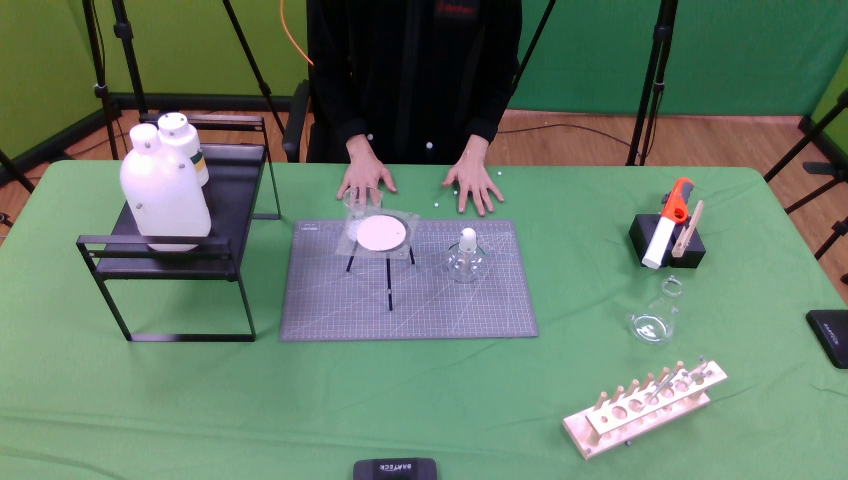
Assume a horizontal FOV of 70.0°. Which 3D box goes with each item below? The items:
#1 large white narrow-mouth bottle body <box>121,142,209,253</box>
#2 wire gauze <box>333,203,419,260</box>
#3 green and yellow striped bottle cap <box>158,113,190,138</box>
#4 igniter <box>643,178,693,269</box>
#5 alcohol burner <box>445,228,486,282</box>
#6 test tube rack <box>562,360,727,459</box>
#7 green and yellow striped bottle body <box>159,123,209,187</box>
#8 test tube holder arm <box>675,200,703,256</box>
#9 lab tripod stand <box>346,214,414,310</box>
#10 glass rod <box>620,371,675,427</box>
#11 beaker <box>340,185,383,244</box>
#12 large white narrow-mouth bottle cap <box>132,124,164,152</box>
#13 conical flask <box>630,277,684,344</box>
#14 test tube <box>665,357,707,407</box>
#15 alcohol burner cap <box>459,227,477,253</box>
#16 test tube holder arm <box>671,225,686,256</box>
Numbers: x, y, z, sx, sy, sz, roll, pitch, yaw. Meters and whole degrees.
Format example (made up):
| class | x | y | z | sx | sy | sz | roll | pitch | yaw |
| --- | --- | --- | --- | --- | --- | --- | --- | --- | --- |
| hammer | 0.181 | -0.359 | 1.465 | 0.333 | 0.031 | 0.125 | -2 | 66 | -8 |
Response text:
| class | x | y | z | sx | sy | sz | roll | pitch | yaw |
| --- | --- | --- | --- | --- | --- | --- | --- | --- | --- |
| large white narrow-mouth bottle body | -0.378 | -0.077 | 0.875 | 0.102 | 0.195 | 0.101 | 3 | 46 | -3 |
| wire gauze | -0.079 | -0.014 | 1.030 | 0.121 | 0.011 | 0.124 | 8 | 45 | 6 |
| green and yellow striped bottle cap | -0.393 | -0.180 | 0.951 | 0.045 | 0.020 | 0.045 | 2 | 44 | -2 |
| igniter | 0.488 | -0.042 | 1.205 | 0.057 | 0.025 | 0.276 | 30 | 51 | 11 |
| alcohol burner | 0.077 | 0.021 | 1.115 | 0.078 | 0.120 | 0.077 | 1 | 48 | -1 |
| test tube rack | 0.341 | 0.247 | 0.940 | 0.243 | 0.085 | 0.066 | -16 | 49 | -18 |
| green and yellow striped bottle body | -0.395 | -0.145 | 0.989 | 0.063 | 0.120 | 0.063 | 2 | 46 | -2 |
| test tube holder arm | 0.523 | -0.025 | 1.190 | 0.013 | 0.015 | 0.178 | 1 | 36 | 41 |
| lab tripod stand | -0.075 | 0.030 | 1.082 | 0.148 | 0.132 | 0.147 | 1 | 47 | -1 |
| glass rod | 0.315 | 0.230 | 0.863 | 0.008 | 0.200 | 0.008 | 3 | 54 | -3 |
| beaker | -0.119 | -0.048 | 1.177 | 0.084 | 0.101 | 0.073 | -20 | 51 | -23 |
| large white narrow-mouth bottle cap | -0.370 | -0.137 | 0.812 | 0.038 | 0.024 | 0.037 | 3 | 46 | -3 |
| conical flask | 0.408 | 0.117 | 1.045 | 0.075 | 0.122 | 0.075 | 2 | 46 | -2 |
| test tube | 0.387 | 0.215 | 0.905 | 0.017 | 0.151 | 0.017 | 1 | 52 | -1 |
| alcohol burner cap | 0.079 | -0.002 | 1.088 | 0.034 | 0.048 | 0.033 | -1 | 54 | 2 |
| test tube holder arm | 0.494 | 0.001 | 1.167 | 0.010 | 0.015 | 0.087 | 1 | 36 | 42 |
